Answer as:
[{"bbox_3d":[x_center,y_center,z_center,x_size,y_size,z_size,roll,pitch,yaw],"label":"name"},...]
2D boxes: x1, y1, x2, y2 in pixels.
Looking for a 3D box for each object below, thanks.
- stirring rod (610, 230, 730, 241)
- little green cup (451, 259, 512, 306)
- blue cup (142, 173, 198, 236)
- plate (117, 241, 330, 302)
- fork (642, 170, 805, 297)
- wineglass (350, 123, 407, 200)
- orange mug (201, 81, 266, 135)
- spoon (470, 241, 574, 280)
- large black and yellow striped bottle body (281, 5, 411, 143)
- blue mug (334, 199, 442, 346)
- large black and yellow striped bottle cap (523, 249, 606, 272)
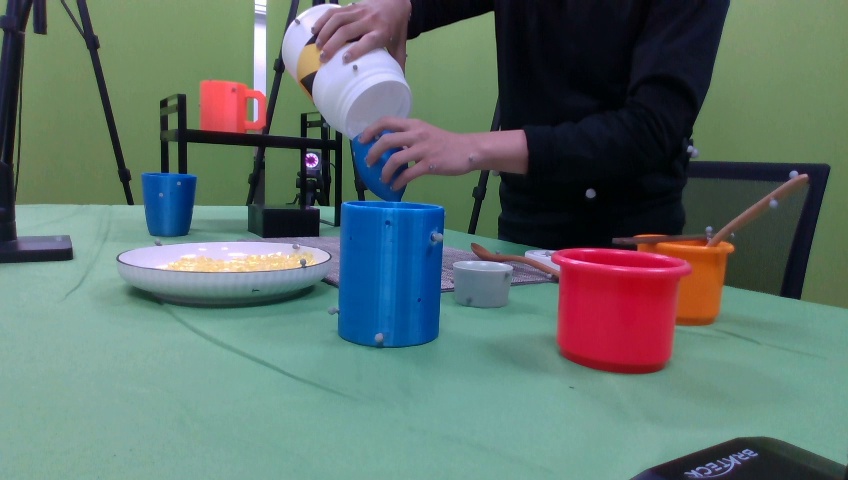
[{"bbox_3d":[0.241,-0.005,0.582,0.177,0.006,0.014,-3,10,-34],"label":"stirring rod"},{"bbox_3d":[0.057,0.043,0.611,0.061,0.038,0.061,3,8,0],"label":"little green cup"},{"bbox_3d":[-0.425,-0.060,1.014,0.093,0.100,0.092,4,9,0],"label":"blue cup"},{"bbox_3d":[-0.203,0.031,0.630,0.209,0.038,0.209,3,7,0],"label":"plate"},{"bbox_3d":[0.261,0.003,0.545,0.028,0.018,0.207,5,-37,-16],"label":"fork"},{"bbox_3d":[-0.046,-0.070,0.837,0.074,0.172,0.074,-19,-11,-4],"label":"wineglass"},{"bbox_3d":[-0.377,-0.260,1.198,0.126,0.101,0.083,-3,8,-6],"label":"orange mug"},{"bbox_3d":[0.124,0.025,0.800,0.042,0.021,0.192,23,-6,-34],"label":"spoon"},{"bbox_3d":[-0.112,-0.239,0.878,0.131,0.130,0.183,-5,47,-44],"label":"large black and yellow striped bottle body"},{"bbox_3d":[-0.034,0.020,0.498,0.083,0.106,0.116,0,7,-20],"label":"blue mug"},{"bbox_3d":[0.198,0.028,0.851,0.115,0.019,0.115,5,5,0],"label":"large black and yellow striped bottle cap"}]
